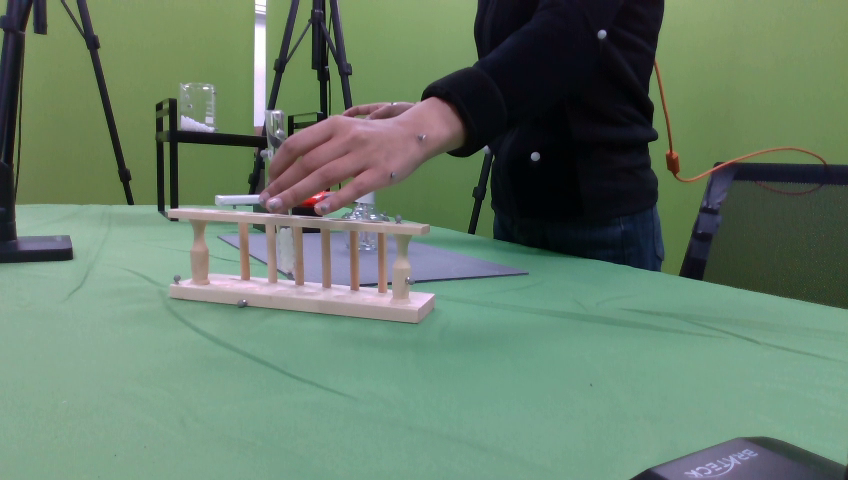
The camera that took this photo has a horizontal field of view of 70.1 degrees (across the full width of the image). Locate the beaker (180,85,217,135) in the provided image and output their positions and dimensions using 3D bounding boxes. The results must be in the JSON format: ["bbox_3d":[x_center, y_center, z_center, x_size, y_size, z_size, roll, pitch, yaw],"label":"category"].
[{"bbox_3d":[-0.478,-0.275,1.279,0.074,0.100,0.084,4,8,15],"label":"beaker"}]

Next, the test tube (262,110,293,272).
[{"bbox_3d":[-0.133,-0.042,0.553,0.017,0.150,0.017,-2,15,1],"label":"test tube"}]

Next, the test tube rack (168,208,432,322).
[{"bbox_3d":[-0.116,0.017,0.573,0.242,0.085,0.067,4,8,13],"label":"test tube rack"}]

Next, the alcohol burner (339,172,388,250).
[{"bbox_3d":[-0.094,-0.045,0.939,0.078,0.119,0.078,0,7,0],"label":"alcohol burner"}]

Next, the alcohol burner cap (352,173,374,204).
[{"bbox_3d":[-0.093,-0.081,0.935,0.034,0.048,0.034,7,10,-1],"label":"alcohol burner cap"}]

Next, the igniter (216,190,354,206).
[{"bbox_3d":[-0.249,-0.079,1.152,0.278,0.025,0.057,-4,11,-27],"label":"igniter"}]
